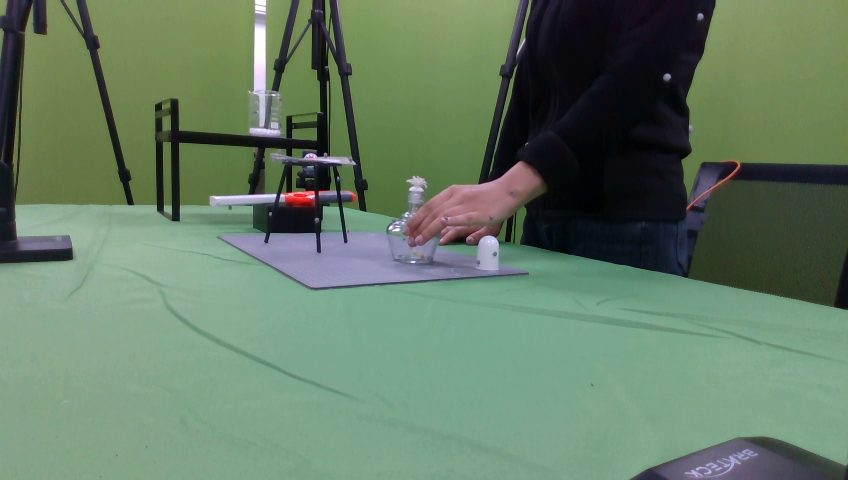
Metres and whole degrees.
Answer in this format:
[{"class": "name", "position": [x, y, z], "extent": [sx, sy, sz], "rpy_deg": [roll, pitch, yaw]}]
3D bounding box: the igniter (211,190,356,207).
[{"class": "igniter", "position": [-0.260, -0.080, 1.152], "extent": [0.278, 0.025, 0.057], "rpy_deg": [-5, 13, -34]}]

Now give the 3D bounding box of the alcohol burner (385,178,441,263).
[{"class": "alcohol burner", "position": [-0.013, -0.027, 0.837], "extent": [0.078, 0.119, 0.078], "rpy_deg": [4, 6, 0]}]

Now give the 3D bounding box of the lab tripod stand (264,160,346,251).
[{"class": "lab tripod stand", "position": [-0.178, -0.057, 0.930], "extent": [0.148, 0.131, 0.148], "rpy_deg": [1, 9, 0]}]

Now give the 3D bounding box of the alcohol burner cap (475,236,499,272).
[{"class": "alcohol burner cap", "position": [0.084, 0.018, 0.799], "extent": [0.034, 0.048, 0.034], "rpy_deg": [3, 6, 0]}]

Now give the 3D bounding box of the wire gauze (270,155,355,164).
[{"class": "wire gauze", "position": [-0.174, -0.123, 0.925], "extent": [0.125, 0.011, 0.121], "rpy_deg": [0, 8, -12]}]

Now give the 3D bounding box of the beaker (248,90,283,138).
[{"class": "beaker", "position": [-0.354, -0.278, 1.340], "extent": [0.074, 0.100, 0.084], "rpy_deg": [6, 9, 25]}]
